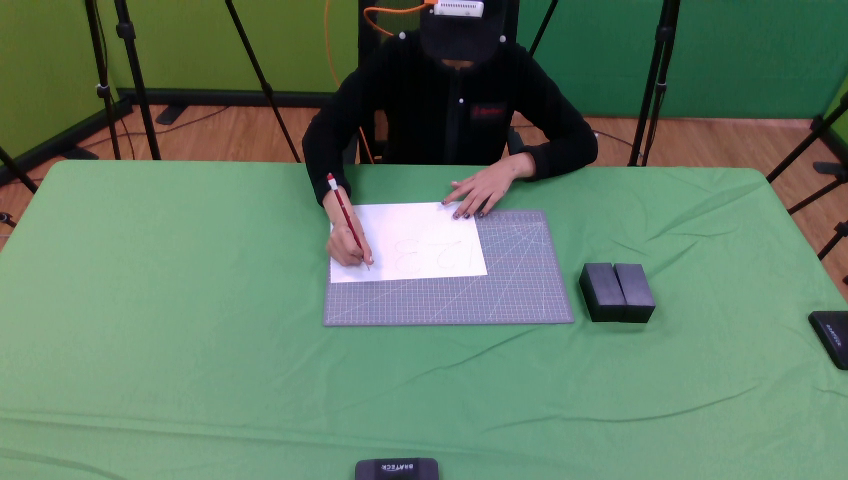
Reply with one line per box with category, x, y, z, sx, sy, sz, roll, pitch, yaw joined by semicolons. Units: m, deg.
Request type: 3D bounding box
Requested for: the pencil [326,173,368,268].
pencil;-0.140;-0.033;1.123;0.012;0.194;0.012;-20;14;5
